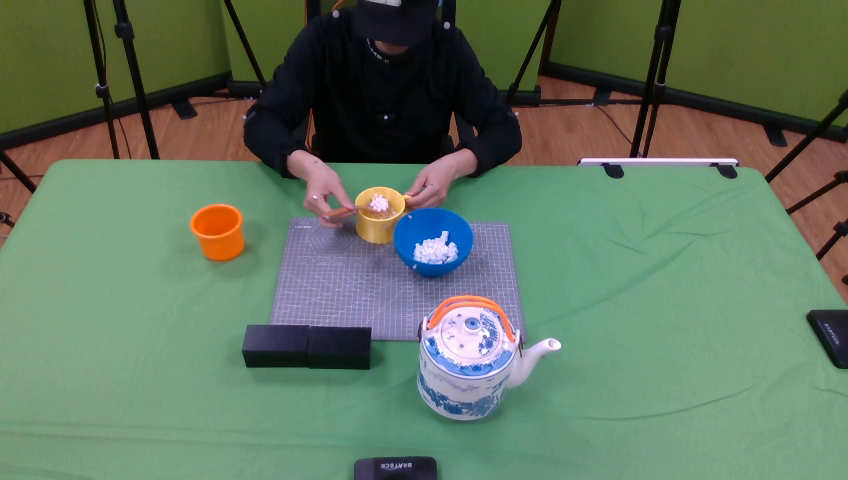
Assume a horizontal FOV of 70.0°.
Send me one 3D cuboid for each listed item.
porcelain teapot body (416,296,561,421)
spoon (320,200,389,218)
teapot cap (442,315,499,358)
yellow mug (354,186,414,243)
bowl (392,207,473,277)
[{"bbox_3d":[0.094,0.164,0.907,0.205,0.226,0.144,6,45,1],"label":"porcelain teapot body"},{"bbox_3d":[-0.131,-0.059,1.145,0.041,0.022,0.194,35,22,23],"label":"spoon"},{"bbox_3d":[0.068,0.133,0.880,0.085,0.044,0.084,4,45,-4],"label":"teapot cap"},{"bbox_3d":[-0.076,-0.056,1.211,0.131,0.064,0.099,-23,52,-25],"label":"yellow mug"},{"bbox_3d":[0.014,0.016,1.140,0.151,0.077,0.150,2,46,-2],"label":"bowl"}]
